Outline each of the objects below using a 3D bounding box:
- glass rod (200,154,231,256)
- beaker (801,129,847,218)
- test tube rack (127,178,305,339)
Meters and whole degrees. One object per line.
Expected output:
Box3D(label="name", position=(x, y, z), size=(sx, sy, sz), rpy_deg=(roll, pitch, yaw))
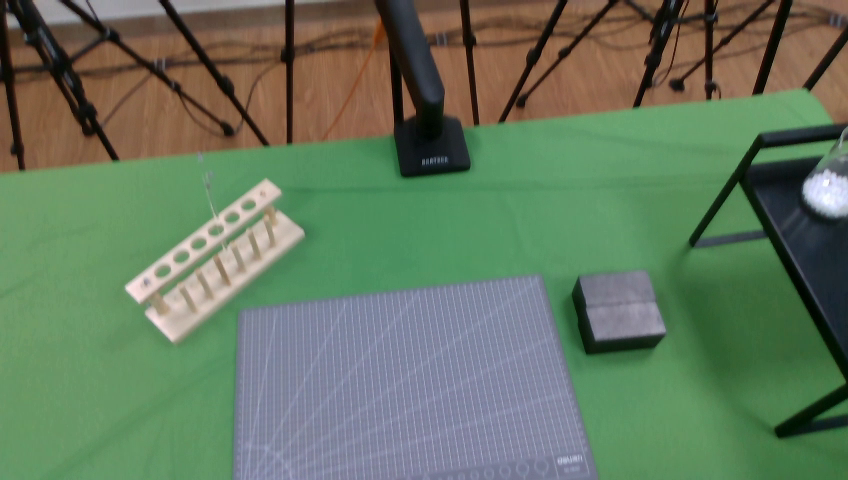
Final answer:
Box3D(label="glass rod", position=(-0.285, -0.042, 0.836), size=(0.008, 0.201, 0.008), rpy_deg=(3, 50, -3))
Box3D(label="beaker", position=(0.517, -0.079, 0.739), size=(0.084, 0.101, 0.073), rpy_deg=(-11, 58, -7))
Box3D(label="test tube rack", position=(-0.289, 0.023, 0.872), size=(0.066, 0.086, 0.242), rpy_deg=(37, 63, 21))
